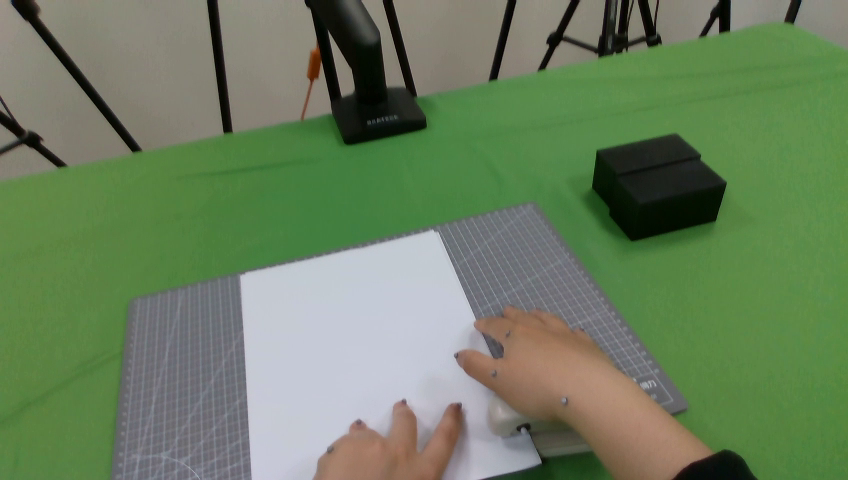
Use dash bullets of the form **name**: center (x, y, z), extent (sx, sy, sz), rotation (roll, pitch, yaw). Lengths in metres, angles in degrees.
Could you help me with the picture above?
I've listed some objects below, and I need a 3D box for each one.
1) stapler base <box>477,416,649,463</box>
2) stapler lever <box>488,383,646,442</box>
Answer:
- **stapler base**: center (0.107, 0.141, 0.468), extent (0.131, 0.024, 0.041), rotation (-6, 42, -4)
- **stapler lever**: center (0.106, 0.129, 0.459), extent (0.118, 0.040, 0.026), rotation (-14, 42, 3)
